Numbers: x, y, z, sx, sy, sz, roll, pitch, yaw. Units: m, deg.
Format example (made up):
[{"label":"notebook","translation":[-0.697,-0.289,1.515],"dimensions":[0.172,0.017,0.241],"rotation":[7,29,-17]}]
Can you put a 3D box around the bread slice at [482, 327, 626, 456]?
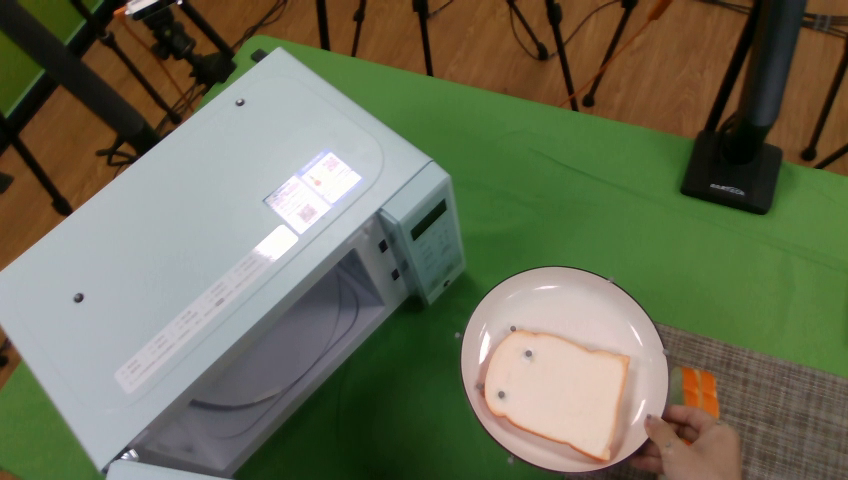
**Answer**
[{"label":"bread slice","translation":[0.127,0.147,0.608],"dimensions":[0.134,0.018,0.106],"rotation":[15,65,8]}]

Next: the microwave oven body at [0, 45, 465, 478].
[{"label":"microwave oven body","translation":[-0.217,0.037,0.758],"dimensions":[0.323,0.262,0.441],"rotation":[39,75,23]}]

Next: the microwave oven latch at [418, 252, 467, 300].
[{"label":"microwave oven latch","translation":[0.024,0.043,0.827],"dimensions":[0.079,0.030,0.030],"rotation":[-44,66,-13]}]

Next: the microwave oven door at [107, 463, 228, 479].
[{"label":"microwave oven door","translation":[-0.095,0.276,0.612],"dimensions":[0.355,0.246,0.039],"rotation":[5,64,11]}]

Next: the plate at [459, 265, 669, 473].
[{"label":"plate","translation":[0.139,0.128,0.617],"dimensions":[0.208,0.039,0.206],"rotation":[0,67,1]}]
